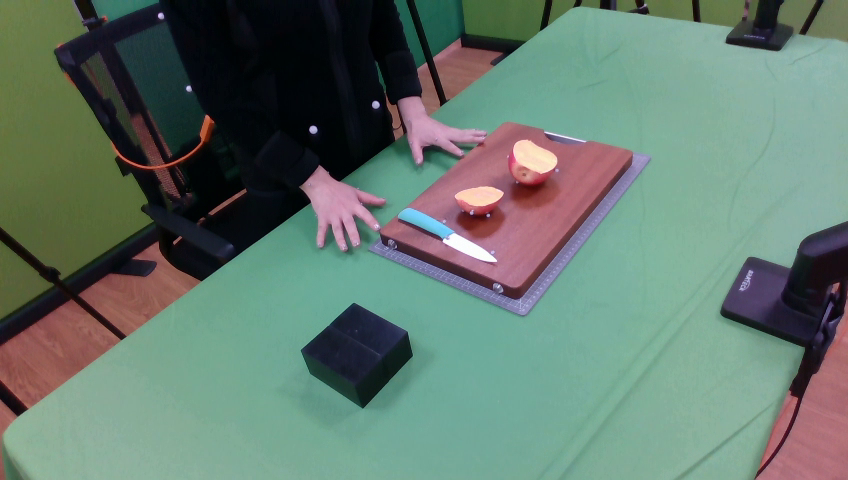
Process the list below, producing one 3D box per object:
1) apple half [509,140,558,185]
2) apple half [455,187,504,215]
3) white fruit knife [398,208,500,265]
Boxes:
[{"bbox_3d":[0.180,-0.124,1.028,0.081,0.053,0.074,25,44,3],"label":"apple half"},{"bbox_3d":[0.094,-0.060,0.988,0.081,0.033,0.081,-4,24,2],"label":"apple half"},{"bbox_3d":[0.038,-0.007,0.951,0.205,0.016,0.027,29,82,35],"label":"white fruit knife"}]
